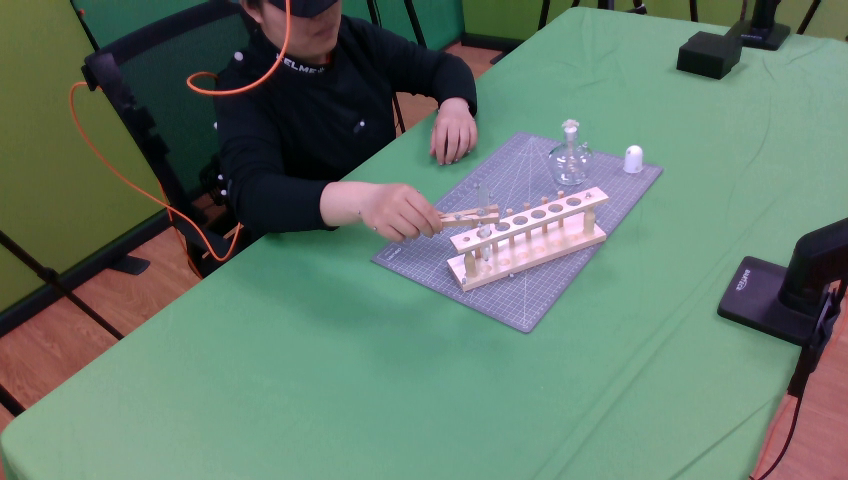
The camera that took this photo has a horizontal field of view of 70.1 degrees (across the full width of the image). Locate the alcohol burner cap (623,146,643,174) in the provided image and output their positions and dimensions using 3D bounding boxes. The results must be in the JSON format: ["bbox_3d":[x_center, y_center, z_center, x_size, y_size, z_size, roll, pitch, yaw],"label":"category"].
[{"bbox_3d":[0.369,-0.143,1.061,0.034,0.048,0.033,-7,41,6],"label":"alcohol burner cap"}]

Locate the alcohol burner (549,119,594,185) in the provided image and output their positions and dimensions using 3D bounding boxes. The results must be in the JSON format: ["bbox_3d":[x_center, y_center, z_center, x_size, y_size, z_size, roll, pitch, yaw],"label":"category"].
[{"bbox_3d":[0.254,-0.155,1.043,0.078,0.120,0.077,-7,40,6],"label":"alcohol burner"}]

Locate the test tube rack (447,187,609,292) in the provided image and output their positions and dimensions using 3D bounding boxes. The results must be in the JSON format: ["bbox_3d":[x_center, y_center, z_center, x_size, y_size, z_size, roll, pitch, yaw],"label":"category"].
[{"bbox_3d":[0.155,-0.011,0.913,0.243,0.085,0.066,-19,41,-11],"label":"test tube rack"}]

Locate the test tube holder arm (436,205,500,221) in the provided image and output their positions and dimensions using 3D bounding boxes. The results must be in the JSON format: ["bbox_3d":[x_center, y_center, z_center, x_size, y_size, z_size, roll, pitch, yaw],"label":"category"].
[{"bbox_3d":[0.061,-0.033,0.833,0.088,0.015,0.010,-12,43,7],"label":"test tube holder arm"}]

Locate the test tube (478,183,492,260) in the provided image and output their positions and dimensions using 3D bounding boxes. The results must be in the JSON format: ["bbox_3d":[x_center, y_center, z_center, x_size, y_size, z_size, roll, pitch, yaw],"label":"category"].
[{"bbox_3d":[0.085,-0.021,0.840,0.017,0.151,0.017,-4,49,5],"label":"test tube"}]

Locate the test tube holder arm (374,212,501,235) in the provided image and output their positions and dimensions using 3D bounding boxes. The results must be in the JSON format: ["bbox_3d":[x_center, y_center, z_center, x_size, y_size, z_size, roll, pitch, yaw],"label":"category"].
[{"bbox_3d":[0.017,-0.022,0.838,0.178,0.015,0.013,-7,44,12],"label":"test tube holder arm"}]
